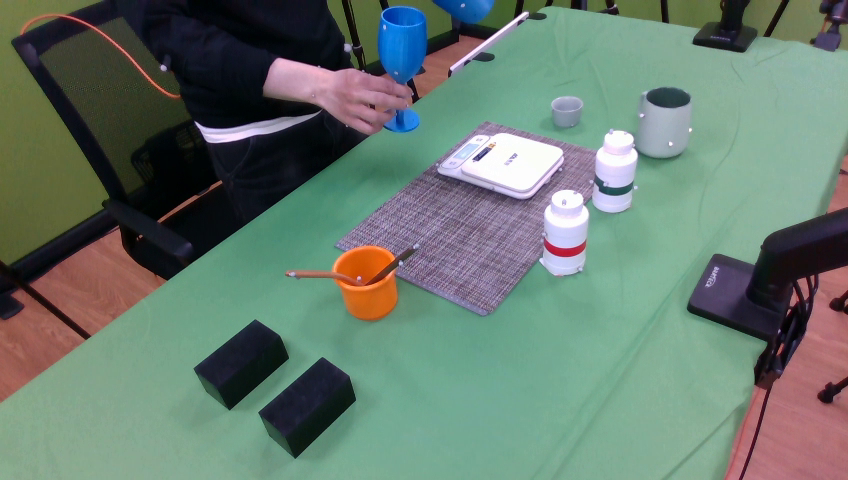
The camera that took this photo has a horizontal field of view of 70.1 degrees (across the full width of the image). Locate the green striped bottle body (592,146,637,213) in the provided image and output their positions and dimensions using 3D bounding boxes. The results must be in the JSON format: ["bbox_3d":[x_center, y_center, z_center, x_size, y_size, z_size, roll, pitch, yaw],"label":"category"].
[{"bbox_3d":[0.307,-0.108,0.976,0.063,0.120,0.063,-4,41,4],"label":"green striped bottle body"}]

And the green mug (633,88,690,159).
[{"bbox_3d":[0.423,-0.217,1.099,0.093,0.105,0.124,-16,41,-9],"label":"green mug"}]

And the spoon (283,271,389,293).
[{"bbox_3d":[-0.117,0.054,0.825,0.041,0.195,0.021,17,89,38],"label":"spoon"}]

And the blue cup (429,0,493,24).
[{"bbox_3d":[0.048,-0.362,0.865,0.092,0.101,0.092,-15,65,36],"label":"blue cup"}]

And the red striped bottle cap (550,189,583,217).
[{"bbox_3d":[0.199,-0.052,0.843,0.044,0.018,0.044,-2,42,2],"label":"red striped bottle cap"}]

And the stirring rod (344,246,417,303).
[{"bbox_3d":[-0.062,0.050,0.819,0.014,0.175,0.006,-2,63,-40],"label":"stirring rod"}]

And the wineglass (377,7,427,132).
[{"bbox_3d":[-0.035,-0.251,0.902,0.074,0.173,0.073,3,45,-2],"label":"wineglass"}]

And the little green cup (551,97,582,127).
[{"bbox_3d":[0.284,-0.255,1.213,0.061,0.039,0.061,-4,41,4],"label":"little green cup"}]

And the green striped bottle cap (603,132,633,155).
[{"bbox_3d":[0.302,-0.149,0.939,0.044,0.020,0.044,-3,40,3],"label":"green striped bottle cap"}]

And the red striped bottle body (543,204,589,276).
[{"bbox_3d":[0.205,-0.011,0.878,0.063,0.120,0.062,-5,41,4],"label":"red striped bottle body"}]

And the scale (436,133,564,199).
[{"bbox_3d":[0.137,-0.142,1.101,0.199,0.032,0.149,22,48,30],"label":"scale"}]
